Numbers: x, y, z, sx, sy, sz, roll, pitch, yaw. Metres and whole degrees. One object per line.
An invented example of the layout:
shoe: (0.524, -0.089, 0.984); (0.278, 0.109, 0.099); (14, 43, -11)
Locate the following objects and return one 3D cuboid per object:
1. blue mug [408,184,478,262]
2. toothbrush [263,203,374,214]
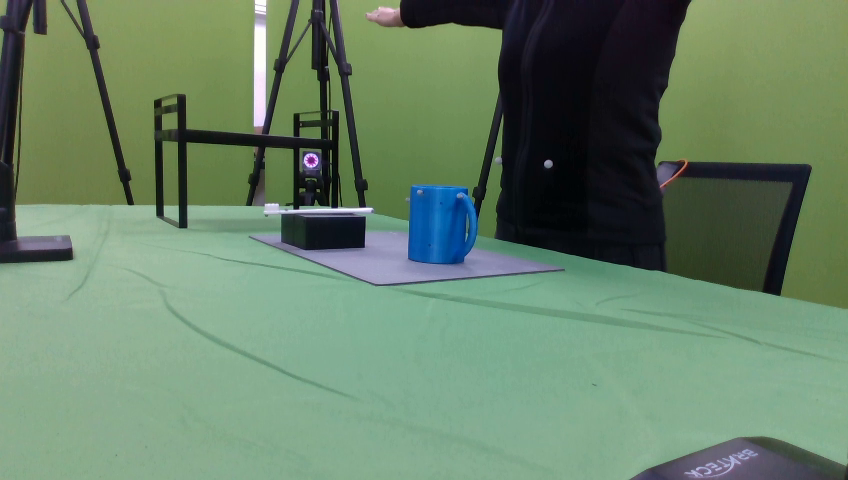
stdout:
blue mug: (0.031, -0.024, 0.843); (0.083, 0.106, 0.116); (-4, 10, -43)
toothbrush: (-0.160, -0.049, 0.943); (0.183, 0.016, 0.014); (-2, 1, -32)
